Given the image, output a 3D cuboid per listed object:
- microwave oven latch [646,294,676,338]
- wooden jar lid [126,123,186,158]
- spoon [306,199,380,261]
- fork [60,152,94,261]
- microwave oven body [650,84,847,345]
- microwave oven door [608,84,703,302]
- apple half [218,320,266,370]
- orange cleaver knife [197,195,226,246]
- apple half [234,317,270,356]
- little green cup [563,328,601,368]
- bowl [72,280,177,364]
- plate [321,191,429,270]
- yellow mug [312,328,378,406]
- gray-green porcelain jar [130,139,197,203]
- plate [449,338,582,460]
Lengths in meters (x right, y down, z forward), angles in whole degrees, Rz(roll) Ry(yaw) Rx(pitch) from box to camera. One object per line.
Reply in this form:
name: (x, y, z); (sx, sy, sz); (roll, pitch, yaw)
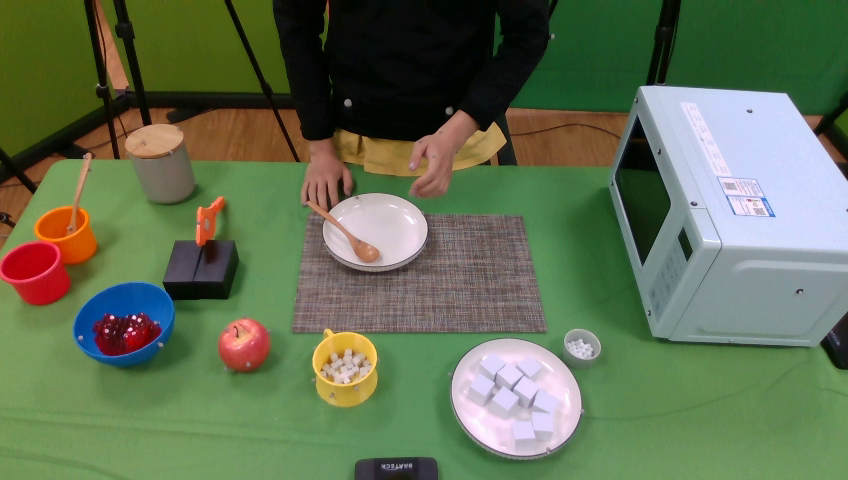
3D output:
microwave oven latch: (0.412, 0.133, 1.061); (0.030, 0.029, 0.078); (3, 46, 0)
wooden jar lid: (-0.519, -0.190, 1.179); (0.108, 0.021, 0.107); (2, 44, -2)
spoon: (-0.160, -0.023, 1.170); (0.193, 0.022, 0.041); (41, 62, 16)
fork: (-0.638, -0.063, 1.119); (0.028, 0.018, 0.207); (12, 90, 12)
microwave oven body: (0.569, -0.054, 1.116); (0.326, 0.261, 0.439); (2, 46, -1)
microwave oven door: (0.424, -0.096, 1.138); (0.039, 0.245, 0.353); (2, 47, -1)
apple half: (-0.298, 0.176, 0.971); (0.080, 0.075, 0.053); (35, 57, 22)
orange cleaver knife: (-0.405, -0.041, 1.157); (0.012, 0.077, 0.210); (2, 14, -7)
apple half: (-0.273, 0.154, 0.992); (0.081, 0.082, 0.033); (33, 56, 25)
little green cup: (0.265, 0.184, 1.025); (0.061, 0.039, 0.061); (1, 46, -1)
bowl: (-0.473, 0.147, 0.982); (0.151, 0.077, 0.150); (2, 46, -2)
plate: (-0.094, -0.015, 1.185); (0.209, 0.038, 0.208); (2, 46, -2)
yellow mug: (-0.132, 0.193, 0.971); (0.100, 0.064, 0.130); (-22, 51, -22)
gray-green porcelain jar: (-0.522, -0.148, 1.224); (0.106, 0.127, 0.105); (2, 47, -2)
plate: (0.141, 0.251, 0.956); (0.208, 0.039, 0.206); (2, 46, -2)
